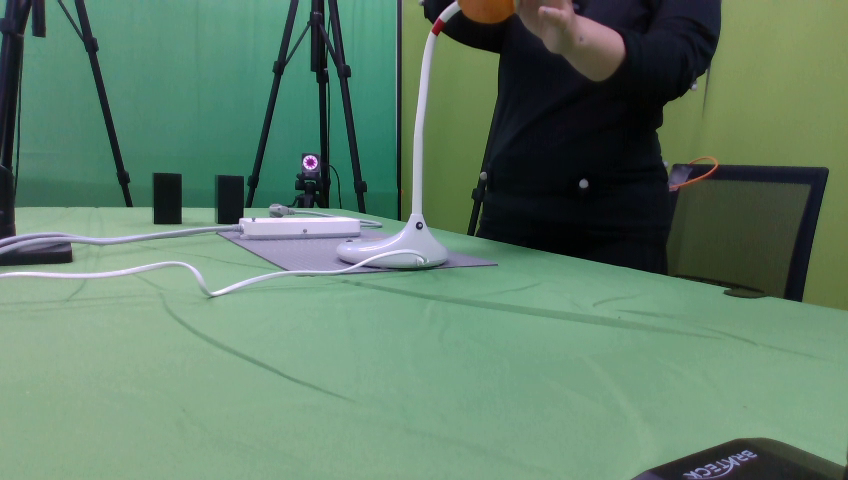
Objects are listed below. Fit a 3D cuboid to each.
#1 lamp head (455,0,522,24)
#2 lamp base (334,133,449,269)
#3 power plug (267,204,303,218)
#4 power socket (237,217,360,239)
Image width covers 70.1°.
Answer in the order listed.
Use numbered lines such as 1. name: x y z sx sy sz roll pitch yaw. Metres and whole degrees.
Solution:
1. lamp head: 0.075 -0.317 0.705 0.112 0.122 0.112 9 -3 1
2. lamp base: -0.034 -0.057 0.831 0.161 0.180 0.178 -2 11 -36
3. power plug: -0.327 -0.060 1.404 0.073 0.035 0.052 22 -14 -26
4. power socket: -0.221 -0.023 1.080 0.228 0.032 0.072 -2 8 -33
